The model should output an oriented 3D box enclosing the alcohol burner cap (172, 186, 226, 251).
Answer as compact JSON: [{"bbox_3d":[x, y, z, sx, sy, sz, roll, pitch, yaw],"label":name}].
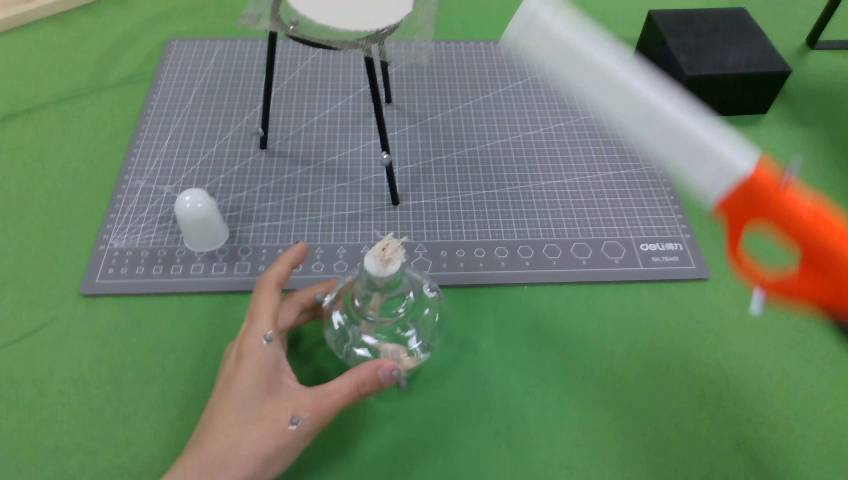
[{"bbox_3d":[-0.163,-0.018,0.434,0.034,0.048,0.033,3,52,-3],"label":"alcohol burner cap"}]

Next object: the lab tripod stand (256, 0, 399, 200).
[{"bbox_3d":[-0.061,-0.119,0.460,0.148,0.132,0.147,3,52,-3],"label":"lab tripod stand"}]

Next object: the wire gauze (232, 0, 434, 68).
[{"bbox_3d":[-0.053,-0.166,0.412,0.125,0.011,0.120,9,52,1],"label":"wire gauze"}]

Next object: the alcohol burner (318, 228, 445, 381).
[{"bbox_3d":[-0.026,0.035,0.361,0.078,0.120,0.077,0,53,0],"label":"alcohol burner"}]

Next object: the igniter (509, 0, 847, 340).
[{"bbox_3d":[0.145,-0.023,0.271,0.275,0.057,0.025,46,39,10],"label":"igniter"}]

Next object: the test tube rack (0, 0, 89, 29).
[{"bbox_3d":[-0.353,-0.305,0.620,0.242,0.086,0.066,-33,61,-25],"label":"test tube rack"}]
